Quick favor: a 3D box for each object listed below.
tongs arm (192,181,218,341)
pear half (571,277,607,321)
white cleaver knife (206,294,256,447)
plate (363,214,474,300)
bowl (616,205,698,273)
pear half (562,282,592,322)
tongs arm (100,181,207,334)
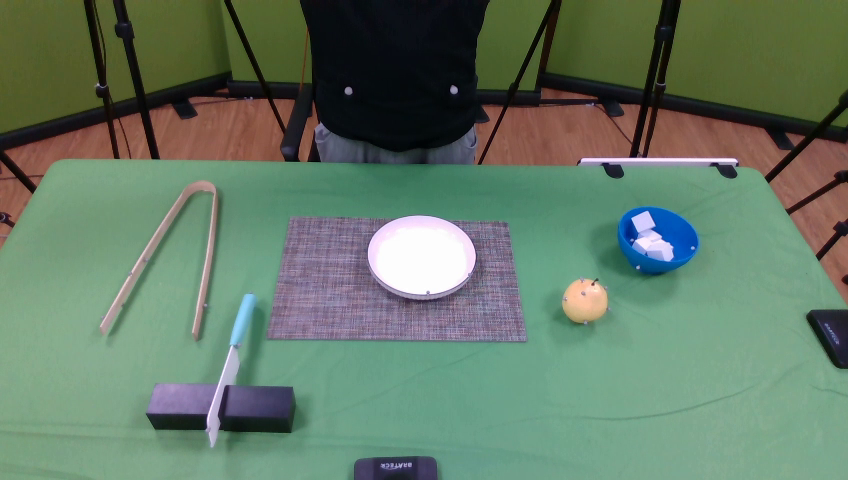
[{"bbox_3d":[-0.413,0.024,1.139,0.028,0.028,0.385,-5,47,-7],"label":"tongs arm"},{"bbox_3d":[0.297,0.094,1.069,0.056,0.110,0.076,-21,61,-21],"label":"pear half"},{"bbox_3d":[-0.305,0.191,0.956,0.021,0.066,0.284,6,36,-4],"label":"white cleaver knife"},{"bbox_3d":[-0.010,0.036,1.146,0.208,0.039,0.206,3,46,-2],"label":"plate"},{"bbox_3d":[0.443,0.011,1.182,0.151,0.077,0.150,2,46,-2],"label":"bowl"},{"bbox_3d":[0.264,0.111,1.065,0.031,0.088,0.070,-20,61,-21],"label":"pear half"},{"bbox_3d":[-0.493,0.018,1.132,0.051,0.026,0.382,7,45,0],"label":"tongs arm"}]
